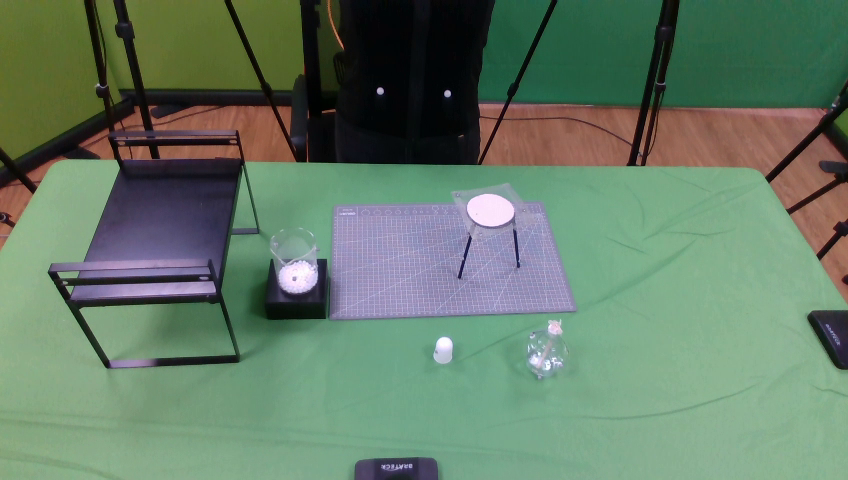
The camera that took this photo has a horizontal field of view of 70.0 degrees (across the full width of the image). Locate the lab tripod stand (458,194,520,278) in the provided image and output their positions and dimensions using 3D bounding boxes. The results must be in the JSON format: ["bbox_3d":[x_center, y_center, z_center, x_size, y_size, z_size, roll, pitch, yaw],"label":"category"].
[{"bbox_3d":[0.115,-0.011,1.135,0.148,0.132,0.147,1,45,-1],"label":"lab tripod stand"}]

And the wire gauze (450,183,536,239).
[{"bbox_3d":[0.122,-0.057,1.087,0.121,0.011,0.124,-12,47,-14],"label":"wire gauze"}]

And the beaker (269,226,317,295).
[{"bbox_3d":[-0.218,0.040,1.020,0.074,0.101,0.083,6,47,2],"label":"beaker"}]

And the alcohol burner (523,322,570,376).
[{"bbox_3d":[0.203,0.169,0.986,0.078,0.119,0.077,3,47,-3],"label":"alcohol burner"}]

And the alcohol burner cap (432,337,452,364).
[{"bbox_3d":[0.031,0.182,1.011,0.034,0.048,0.033,4,45,-3],"label":"alcohol burner cap"}]
